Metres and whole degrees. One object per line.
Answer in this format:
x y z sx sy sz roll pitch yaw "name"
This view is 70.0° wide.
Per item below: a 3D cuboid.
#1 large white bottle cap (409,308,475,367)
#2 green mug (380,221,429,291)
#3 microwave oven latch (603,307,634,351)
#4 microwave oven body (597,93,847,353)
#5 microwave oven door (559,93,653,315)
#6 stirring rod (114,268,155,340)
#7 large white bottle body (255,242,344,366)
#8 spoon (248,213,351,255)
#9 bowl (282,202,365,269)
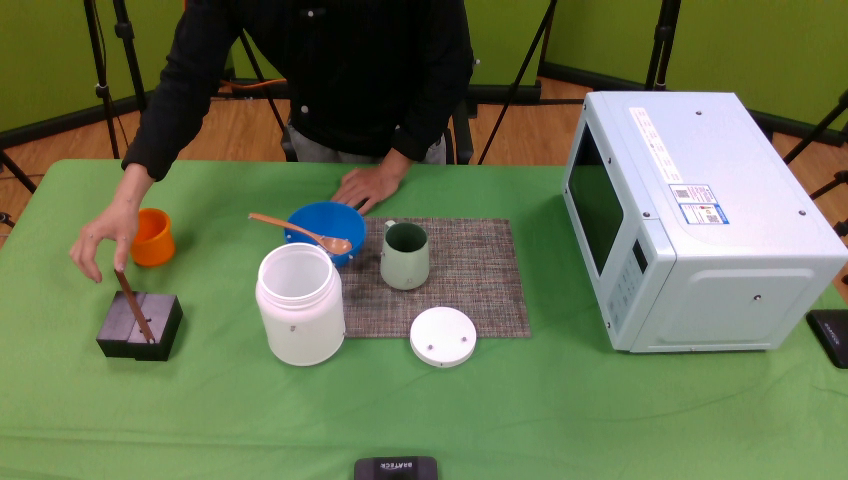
0.031 0.166 1.041 0.115 0.018 0.114 2 47 -2 "large white bottle cap"
-0.043 0.020 1.116 0.092 0.105 0.124 -20 50 -21 "green mug"
0.332 0.153 1.044 0.030 0.029 0.078 0 45 -4 "microwave oven latch"
0.475 -0.041 1.109 0.326 0.261 0.438 -1 45 -4 "microwave oven body"
0.327 -0.074 1.123 0.039 0.245 0.353 -1 46 -5 "microwave oven door"
-0.479 0.103 0.999 0.014 0.006 0.175 7 32 -50 "stirring rod"
-0.196 0.102 0.967 0.131 0.185 0.130 2 49 -2 "large white bottle body"
-0.227 -0.014 1.113 0.194 0.022 0.041 23 41 -15 "spoon"
-0.185 0.006 1.136 0.151 0.077 0.150 3 46 -2 "bowl"
